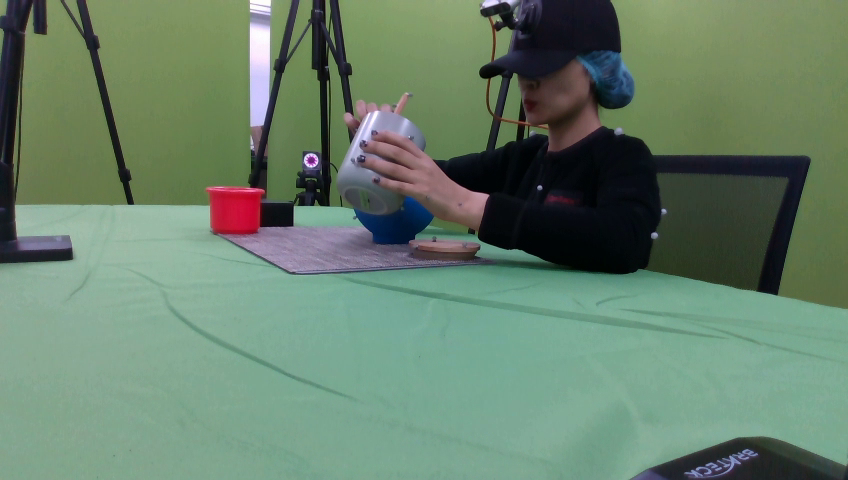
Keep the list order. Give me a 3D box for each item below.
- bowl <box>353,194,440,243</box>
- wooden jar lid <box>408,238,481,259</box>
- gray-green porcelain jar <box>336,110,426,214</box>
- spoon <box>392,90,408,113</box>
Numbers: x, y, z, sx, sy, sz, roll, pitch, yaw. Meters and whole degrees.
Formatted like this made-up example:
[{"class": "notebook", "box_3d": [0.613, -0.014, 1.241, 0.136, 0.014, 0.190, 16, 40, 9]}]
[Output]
[{"class": "bowl", "box_3d": [-0.050, -0.038, 1.033, 0.151, 0.077, 0.151, 3, 7, 0]}, {"class": "wooden jar lid", "box_3d": [0.031, 0.012, 0.895, 0.108, 0.020, 0.108, 2, 8, 0]}, {"class": "gray-green porcelain jar", "box_3d": [-0.065, -0.110, 0.894, 0.106, 0.126, 0.106, 16, -26, 8]}, {"class": "spoon", "box_3d": [-0.068, -0.163, 0.931, 0.041, 0.194, 0.022, -9, -47, 46]}]
